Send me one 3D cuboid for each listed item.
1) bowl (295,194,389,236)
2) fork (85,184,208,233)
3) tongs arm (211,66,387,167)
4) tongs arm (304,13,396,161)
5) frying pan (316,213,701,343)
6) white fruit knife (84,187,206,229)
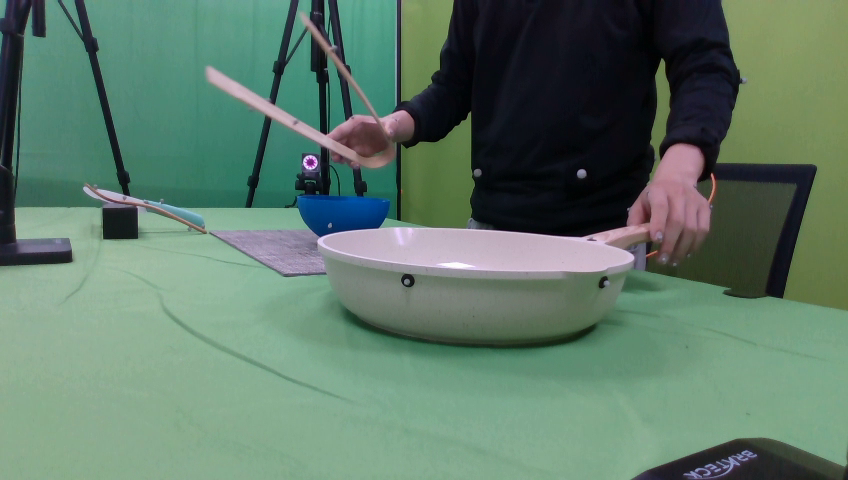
[{"bbox_3d":[-0.132,-0.032,0.980,0.151,0.077,0.151,1,7,0],"label":"bowl"},{"bbox_3d":[-0.462,-0.051,1.019,0.208,0.018,0.028,22,-11,-37],"label":"fork"},{"bbox_3d":[-0.161,-0.173,0.896,0.050,0.026,0.386,-27,-20,16],"label":"tongs arm"},{"bbox_3d":[-0.095,-0.203,0.880,0.028,0.027,0.388,-27,-19,4],"label":"tongs arm"},{"bbox_3d":[0.133,0.013,0.629,0.490,0.102,0.305,-12,14,-30],"label":"frying pan"},{"bbox_3d":[-0.488,-0.059,1.071,0.208,0.027,0.016,17,4,-33],"label":"white fruit knife"}]
